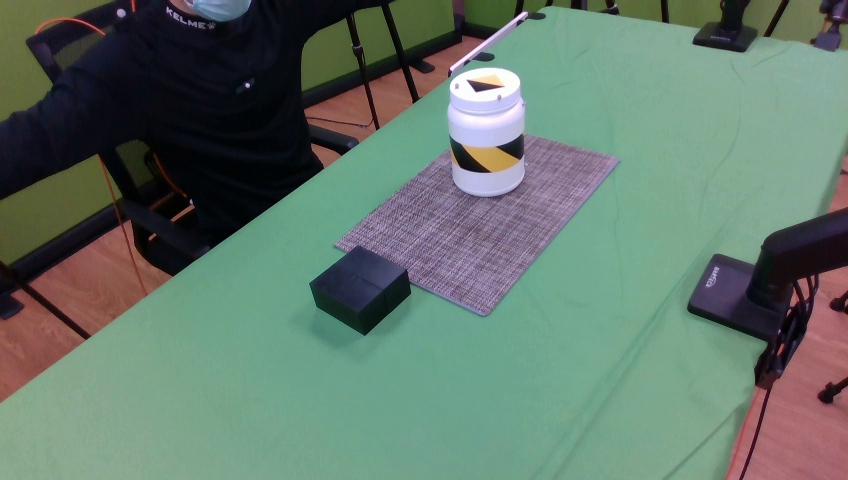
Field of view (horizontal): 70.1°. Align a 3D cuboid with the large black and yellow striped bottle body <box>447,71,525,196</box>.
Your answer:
[{"bbox_3d":[0.108,-0.183,1.034,0.131,0.185,0.130,-4,40,4],"label":"large black and yellow striped bottle body"}]

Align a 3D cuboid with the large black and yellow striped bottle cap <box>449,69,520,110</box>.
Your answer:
[{"bbox_3d":[0.098,-0.246,0.980,0.115,0.019,0.114,-3,40,3],"label":"large black and yellow striped bottle cap"}]
